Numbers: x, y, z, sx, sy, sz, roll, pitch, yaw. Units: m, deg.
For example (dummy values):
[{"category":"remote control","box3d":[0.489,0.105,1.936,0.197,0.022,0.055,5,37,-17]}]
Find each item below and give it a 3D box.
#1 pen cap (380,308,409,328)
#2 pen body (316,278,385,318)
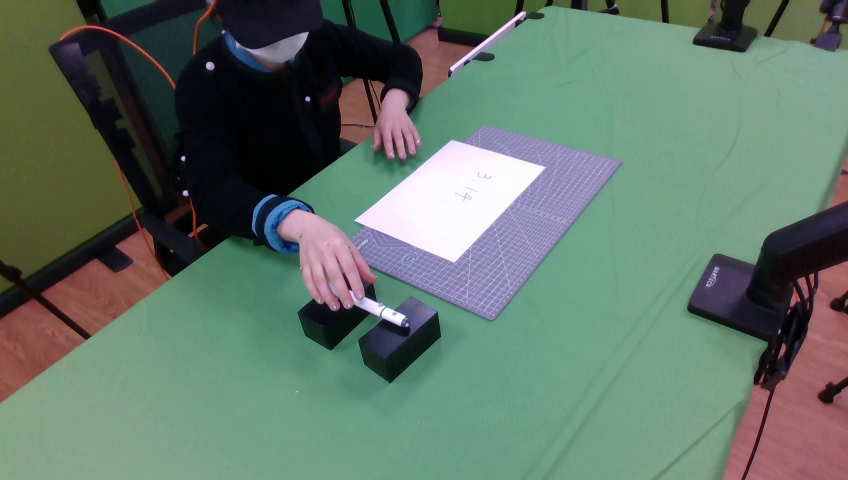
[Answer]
[{"category":"pen cap","box3d":[-0.037,0.102,0.782,0.038,0.017,0.017,19,47,29]},{"category":"pen body","box3d":[-0.089,0.083,0.813,0.143,0.017,0.017,21,48,29]}]
